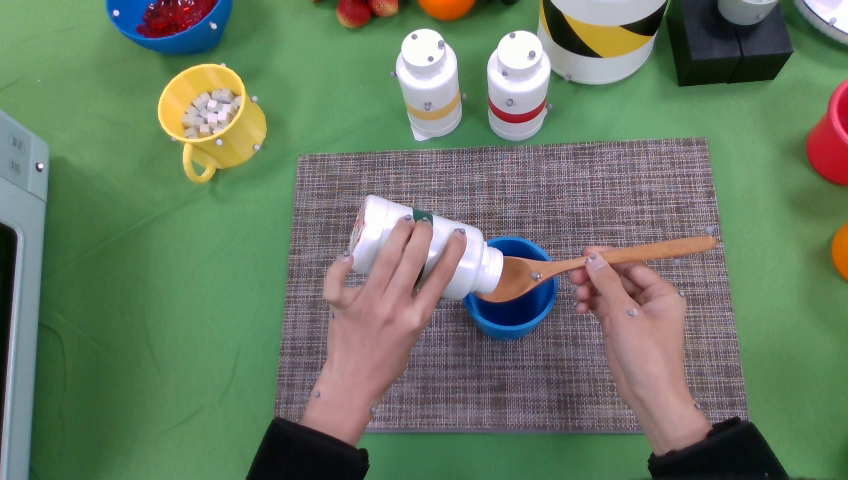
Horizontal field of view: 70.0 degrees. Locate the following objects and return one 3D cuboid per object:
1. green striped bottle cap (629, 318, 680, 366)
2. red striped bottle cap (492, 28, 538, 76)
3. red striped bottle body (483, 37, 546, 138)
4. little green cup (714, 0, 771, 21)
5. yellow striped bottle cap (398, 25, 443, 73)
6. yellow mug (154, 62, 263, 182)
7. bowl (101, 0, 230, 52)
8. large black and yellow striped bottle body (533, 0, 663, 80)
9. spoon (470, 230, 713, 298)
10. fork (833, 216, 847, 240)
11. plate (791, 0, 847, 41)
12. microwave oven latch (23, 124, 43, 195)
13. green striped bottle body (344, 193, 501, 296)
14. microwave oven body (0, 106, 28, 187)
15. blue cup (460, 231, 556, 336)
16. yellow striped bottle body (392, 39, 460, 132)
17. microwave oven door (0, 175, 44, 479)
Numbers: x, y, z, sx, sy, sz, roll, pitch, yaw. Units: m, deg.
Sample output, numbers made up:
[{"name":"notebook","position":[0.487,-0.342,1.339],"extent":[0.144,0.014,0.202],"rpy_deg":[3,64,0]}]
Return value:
[{"name":"green striped bottle cap","position":[0.219,0.097,0.577],"extent":[0.044,0.020,0.044],"rpy_deg":[-2,67,5]},{"name":"red striped bottle cap","position":[0.087,-0.181,0.580],"extent":[0.044,0.018,0.044],"rpy_deg":[-1,69,2]},{"name":"red striped bottle body","position":[0.095,-0.162,0.629],"extent":[0.063,0.120,0.062],"rpy_deg":[-4,68,10]},{"name":"little green cup","position":[0.332,-0.260,0.626],"extent":[0.061,0.039,0.061],"rpy_deg":[-2,69,5]},{"name":"yellow striped bottle cap","position":[-0.004,-0.187,0.594],"extent":[0.044,0.019,0.044],"rpy_deg":[-2,72,5]},{"name":"yellow mug","position":[-0.246,-0.128,0.684],"extent":[0.100,0.064,0.130],"rpy_deg":[8,73,8]},{"name":"bowl","position":[-0.299,-0.284,0.738],"extent":[0.151,0.077,0.150],"rpy_deg":[-2,71,5]},{"name":"large black and yellow striped bottle body","position":[0.182,-0.268,0.622],"extent":[0.130,0.185,0.130],"rpy_deg":[-2,70,6]},{"name":"spoon","position":[0.127,0.016,0.485],"extent":[0.193,0.022,0.041],"rpy_deg":[-12,63,23]},{"name":"fork","position":[0.451,0.017,0.511],"extent":[0.028,0.019,0.205],"rpy_deg":[-40,27,-7]},{"name":"plate","position":[0.502,-0.298,0.673],"extent":[0.209,0.038,0.207],"rpy_deg":[-2,71,6]},{"name":"microwave oven latch","position":[-0.456,-0.090,0.690],"extent":[0.030,0.030,0.078],"rpy_deg":[-9,71,3]},{"name":"green striped bottle body","position":[0.000,0.007,0.487],"extent":[0.119,0.063,0.063],"rpy_deg":[15,72,-11]},{"name":"microwave oven body","position":[-0.583,0.069,0.548],"extent":[0.326,0.262,0.438],"rpy_deg":[-11,71,2]},{"name":"blue cup","position":[0.074,0.050,0.564],"extent":[0.092,0.101,0.092],"rpy_deg":[-1,70,4]},{"name":"yellow striped bottle body","position":[0.003,-0.170,0.642],"extent":[0.063,0.121,0.062],"rpy_deg":[-2,70,7]},{"name":"microwave oven door","position":[-0.434,0.080,0.522],"extent":[0.039,0.245,0.353],"rpy_deg":[-11,70,3]}]
